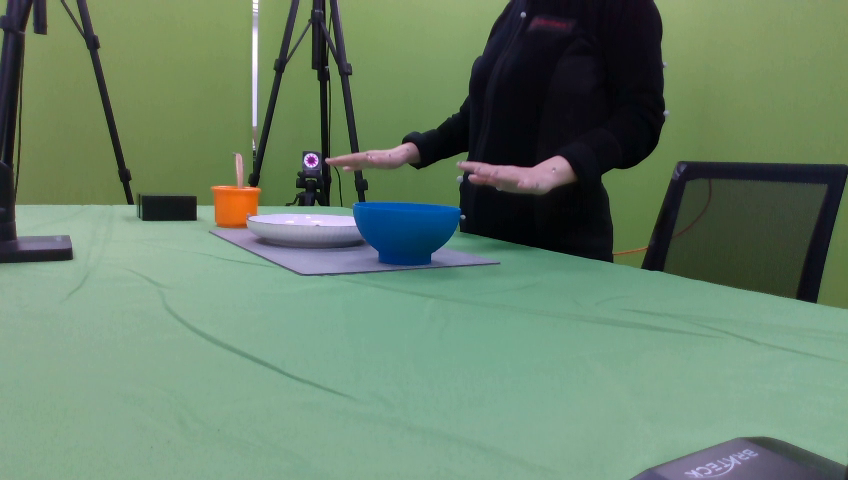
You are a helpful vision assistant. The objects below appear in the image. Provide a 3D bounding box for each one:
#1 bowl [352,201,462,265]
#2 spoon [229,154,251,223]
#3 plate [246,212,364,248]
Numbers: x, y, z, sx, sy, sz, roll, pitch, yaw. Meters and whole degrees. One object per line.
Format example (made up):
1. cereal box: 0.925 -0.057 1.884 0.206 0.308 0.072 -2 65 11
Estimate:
1. bowl: -0.025 -0.010 0.831 0.151 0.077 0.151 3 7 0
2. spoon: -0.367 -0.106 1.208 0.042 0.193 0.021 2 -37 -20
3. plate: -0.185 -0.017 0.995 0.209 0.038 0.209 3 8 0
